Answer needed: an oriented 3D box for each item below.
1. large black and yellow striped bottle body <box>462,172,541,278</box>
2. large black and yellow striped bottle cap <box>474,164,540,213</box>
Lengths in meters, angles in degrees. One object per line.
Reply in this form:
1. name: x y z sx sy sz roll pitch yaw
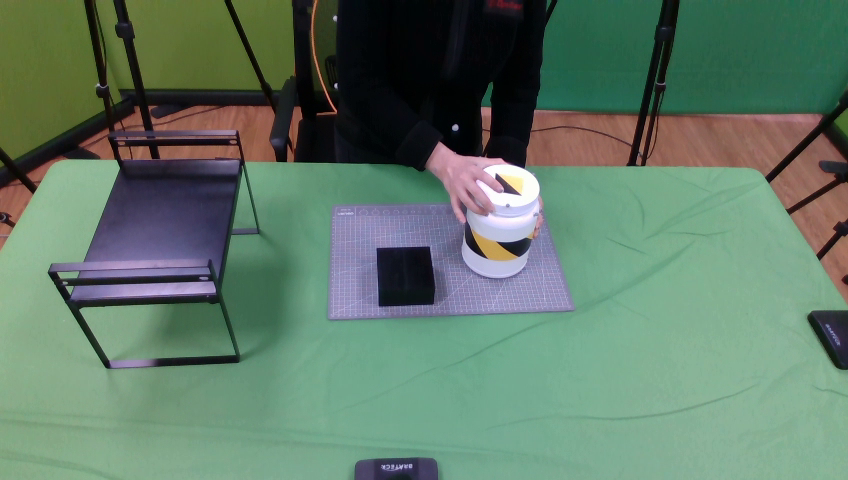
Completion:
1. large black and yellow striped bottle body: 0.143 -0.033 1.121 0.131 0.185 0.130 2 46 -2
2. large black and yellow striped bottle cap: 0.145 -0.093 1.061 0.115 0.019 0.114 4 46 -4
